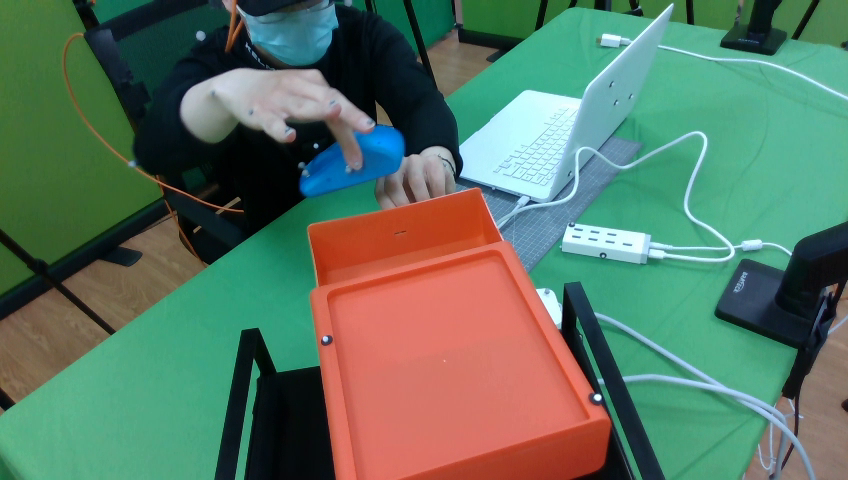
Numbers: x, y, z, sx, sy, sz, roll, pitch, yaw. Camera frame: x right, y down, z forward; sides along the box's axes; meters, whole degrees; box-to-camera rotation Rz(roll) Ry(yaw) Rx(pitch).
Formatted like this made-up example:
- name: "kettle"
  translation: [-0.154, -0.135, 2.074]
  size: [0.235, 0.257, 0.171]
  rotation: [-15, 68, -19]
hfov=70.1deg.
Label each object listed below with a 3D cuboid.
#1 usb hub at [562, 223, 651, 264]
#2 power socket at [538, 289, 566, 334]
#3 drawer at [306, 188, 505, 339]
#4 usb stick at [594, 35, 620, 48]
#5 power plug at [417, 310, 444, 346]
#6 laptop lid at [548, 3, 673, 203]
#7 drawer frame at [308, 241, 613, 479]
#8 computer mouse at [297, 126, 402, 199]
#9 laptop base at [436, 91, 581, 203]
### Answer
- name: "usb hub"
  translation: [0.279, 0.004, 0.925]
  size: [0.124, 0.025, 0.049]
  rotation: [10, 43, 19]
- name: "power socket"
  translation: [0.081, 0.111, 0.822]
  size: [0.227, 0.033, 0.072]
  rotation: [-6, 41, 0]
- name: "drawer"
  translation: [-0.006, 0.051, 0.593]
  size: [0.195, 0.073, 0.210]
  rotation: [-12, 41, -6]
- name: "usb stick"
  translation: [0.444, -0.482, 1.466]
  size: [0.059, 0.021, 0.027]
  rotation: [10, 43, 9]
- name: "power plug"
  translation: [0.006, 0.123, 0.785]
  size: [0.035, 0.053, 0.072]
  rotation: [1, 39, 9]
- name: "laptop lid"
  translation: [0.320, -0.235, 1.026]
  size: [0.013, 0.242, 0.357]
  rotation: [31, 50, 20]
- name: "drawer frame"
  translation: [0.018, 0.111, 0.515]
  size: [0.202, 0.083, 0.212]
  rotation: [-14, 41, -8]
- name: "computer mouse"
  translation: [-0.079, -0.082, 0.627]
  size: [0.117, 0.041, 0.062]
  rotation: [-19, 34, 12]
- name: "laptop base"
  translation: [0.215, -0.193, 1.172]
  size: [0.233, 0.023, 0.355]
  rotation: [19, 46, 32]
